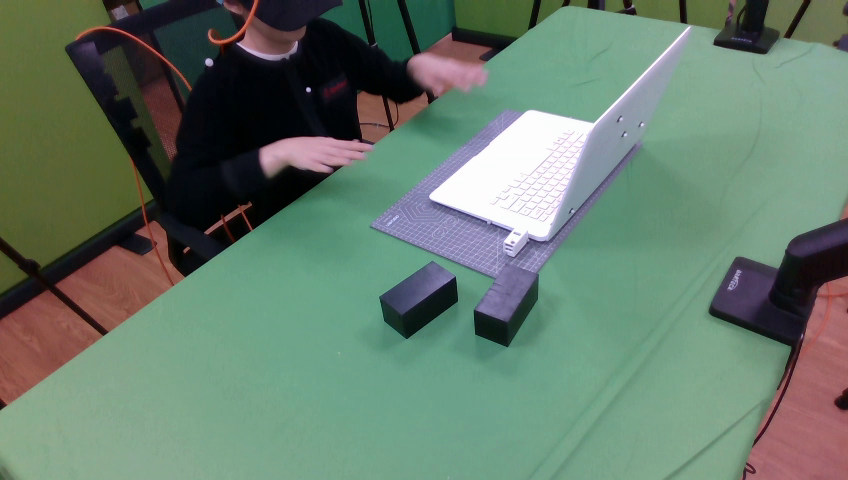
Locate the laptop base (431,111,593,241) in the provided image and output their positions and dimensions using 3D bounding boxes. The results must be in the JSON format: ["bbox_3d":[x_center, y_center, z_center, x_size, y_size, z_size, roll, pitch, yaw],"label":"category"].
[{"bbox_3d":[0.207,-0.130,1.100,0.233,0.023,0.355,20,47,34],"label":"laptop base"}]

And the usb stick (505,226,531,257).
[{"bbox_3d":[0.150,-0.002,0.940,0.021,0.027,0.059,22,46,31],"label":"usb stick"}]

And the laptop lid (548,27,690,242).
[{"bbox_3d":[0.310,-0.168,0.950,0.013,0.242,0.358,33,52,20],"label":"laptop lid"}]
